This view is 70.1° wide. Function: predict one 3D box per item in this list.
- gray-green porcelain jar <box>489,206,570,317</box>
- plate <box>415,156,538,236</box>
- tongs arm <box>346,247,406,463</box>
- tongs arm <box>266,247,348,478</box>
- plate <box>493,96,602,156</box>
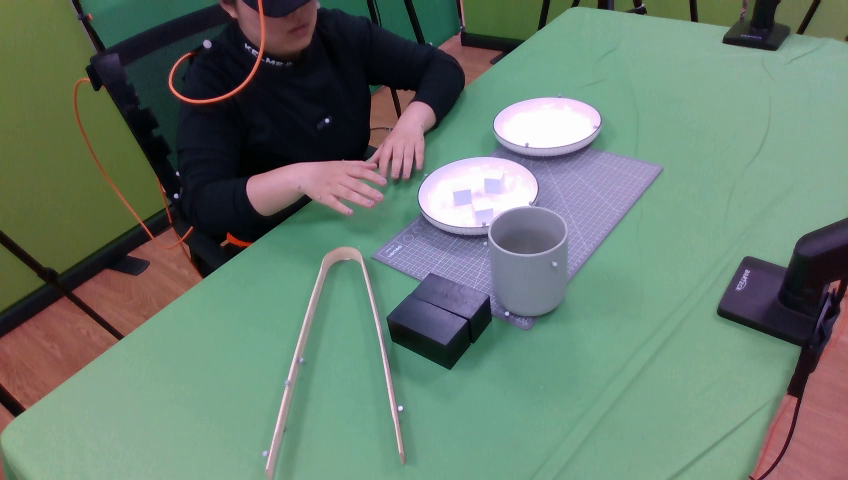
[{"bbox_3d":[0.145,0.034,0.829,0.106,0.127,0.105,-5,40,5],"label":"gray-green porcelain jar"},{"bbox_3d":[0.090,-0.072,1.034,0.207,0.039,0.206,-5,40,5],"label":"plate"},{"bbox_3d":[-0.069,0.133,0.833,0.028,0.028,0.384,-16,40,-4],"label":"tongs arm"},{"bbox_3d":[-0.151,0.143,0.831,0.051,0.026,0.383,-5,39,5],"label":"tongs arm"},{"bbox_3d":[0.238,-0.218,1.179,0.209,0.038,0.208,-4,39,4],"label":"plate"}]
